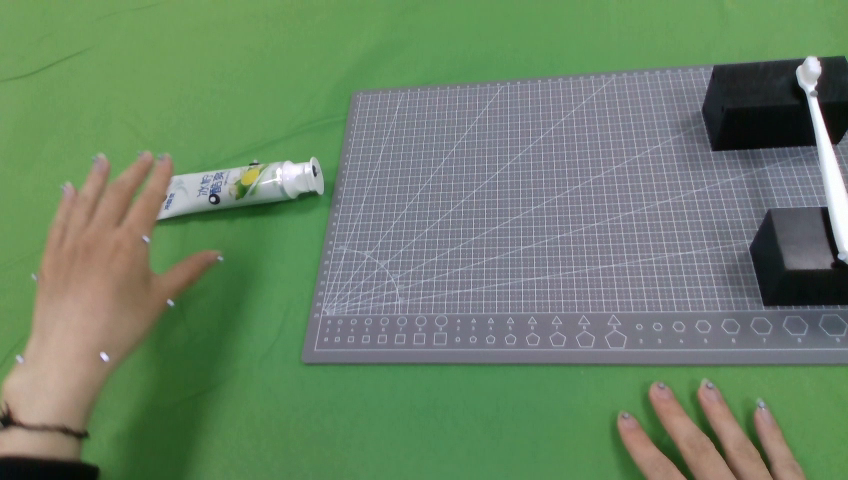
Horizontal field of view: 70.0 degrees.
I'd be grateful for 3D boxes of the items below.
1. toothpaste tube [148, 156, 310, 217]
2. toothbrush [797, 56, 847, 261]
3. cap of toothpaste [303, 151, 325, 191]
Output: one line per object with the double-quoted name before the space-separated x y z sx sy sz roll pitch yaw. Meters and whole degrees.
"toothpaste tube" -0.178 -0.054 0.565 0.165 0.035 0.054 -7 50 11
"toothbrush" 0.287 -0.064 0.427 0.014 0.017 0.180 10 60 1
"cap of toothpaste" -0.100 -0.062 0.548 0.011 0.038 0.037 -10 55 5
